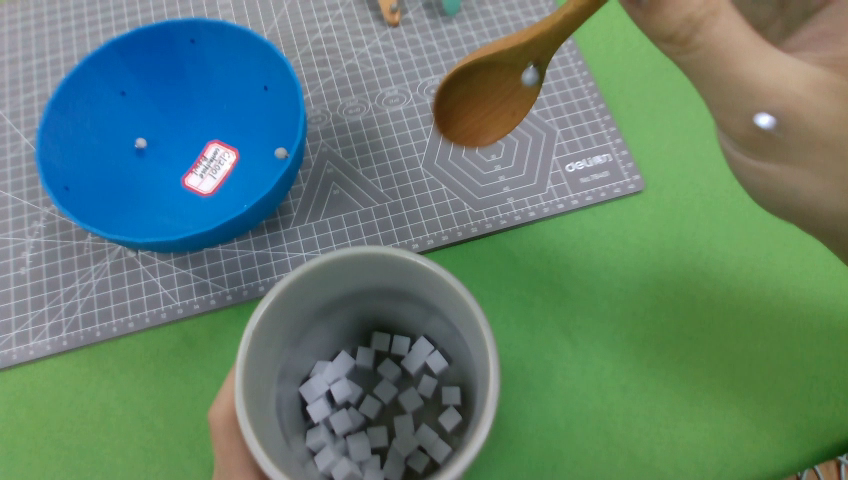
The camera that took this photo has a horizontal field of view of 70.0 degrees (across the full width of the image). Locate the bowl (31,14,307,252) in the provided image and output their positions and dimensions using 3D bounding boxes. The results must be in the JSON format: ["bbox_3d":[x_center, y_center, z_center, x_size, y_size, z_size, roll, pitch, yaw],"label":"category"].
[{"bbox_3d":[-0.141,-0.052,0.371,0.151,0.077,0.150,0,67,1],"label":"bowl"}]

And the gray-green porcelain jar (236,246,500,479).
[{"bbox_3d":[-0.021,0.074,0.296,0.106,0.127,0.105,0,67,1],"label":"gray-green porcelain jar"}]

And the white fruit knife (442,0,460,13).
[{"bbox_3d":[-0.008,-0.273,0.461,0.016,0.027,0.206,-16,82,-7],"label":"white fruit knife"}]

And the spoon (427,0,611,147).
[{"bbox_3d":[0.048,-0.073,0.178,0.042,0.193,0.021,12,72,-18],"label":"spoon"}]

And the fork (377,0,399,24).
[{"bbox_3d":[-0.056,-0.261,0.455,0.028,0.018,0.207,-18,87,-12],"label":"fork"}]
